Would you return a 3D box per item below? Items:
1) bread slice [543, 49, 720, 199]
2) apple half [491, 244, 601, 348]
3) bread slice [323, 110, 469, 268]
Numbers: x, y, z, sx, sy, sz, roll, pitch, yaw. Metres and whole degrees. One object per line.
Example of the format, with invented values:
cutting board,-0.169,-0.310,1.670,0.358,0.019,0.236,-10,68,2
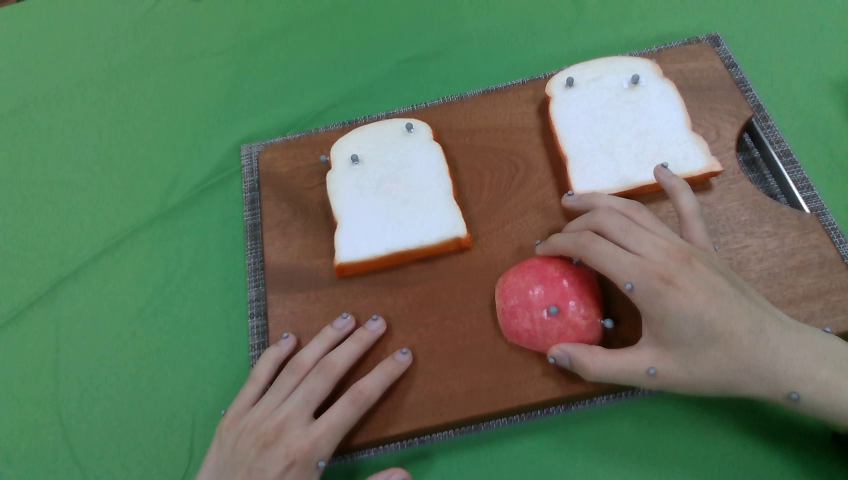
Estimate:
bread slice,0.148,-0.095,0.474,0.107,0.018,0.133,-15,60,0
apple half,0.082,0.032,0.407,0.081,0.033,0.080,-3,62,5
bread slice,-0.030,-0.046,0.477,0.105,0.019,0.130,-13,61,0
